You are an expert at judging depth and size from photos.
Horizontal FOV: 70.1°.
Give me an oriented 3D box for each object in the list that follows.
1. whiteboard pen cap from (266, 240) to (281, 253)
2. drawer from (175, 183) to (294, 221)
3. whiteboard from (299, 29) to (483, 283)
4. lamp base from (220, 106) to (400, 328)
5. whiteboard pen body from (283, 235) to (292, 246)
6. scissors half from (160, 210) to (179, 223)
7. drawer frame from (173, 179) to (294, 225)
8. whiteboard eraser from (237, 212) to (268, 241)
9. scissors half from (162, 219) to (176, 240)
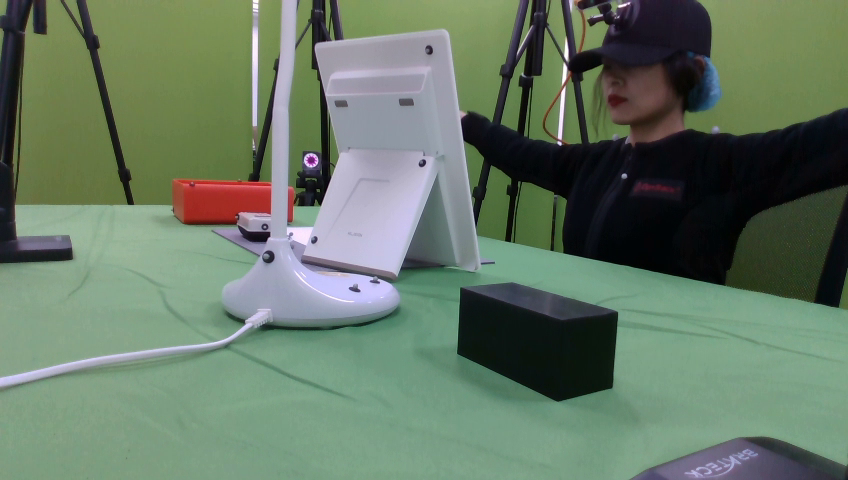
[{"bbox_3d":[-0.202,0.009,0.813,0.018,0.018,0.033,1,3,-8],"label":"whiteboard pen cap"},{"bbox_3d":[-0.402,-0.082,1.279,0.213,0.073,0.193,-2,10,-28],"label":"drawer"},{"bbox_3d":[-0.074,-0.082,0.742,0.216,0.305,0.144,9,29,38],"label":"whiteboard"},{"bbox_3d":[-0.101,-0.023,0.531,0.160,0.180,0.179,4,10,10],"label":"lamp base"},{"bbox_3d":[-0.206,0.005,0.872,0.017,0.017,0.140,2,4,-6],"label":"whiteboard pen body"},{"bbox_3d":[-0.506,-0.066,1.256,0.013,0.040,0.175,3,21,3],"label":"scissors half"},{"bbox_3d":[-0.404,-0.083,1.277,0.215,0.082,0.200,-2,9,-29],"label":"drawer frame"},{"bbox_3d":[-0.272,-0.023,0.998,0.056,0.042,0.112,-3,9,-26],"label":"whiteboard eraser"},{"bbox_3d":[-0.507,-0.055,1.262,0.013,0.040,0.175,10,39,2],"label":"scissors half"}]
